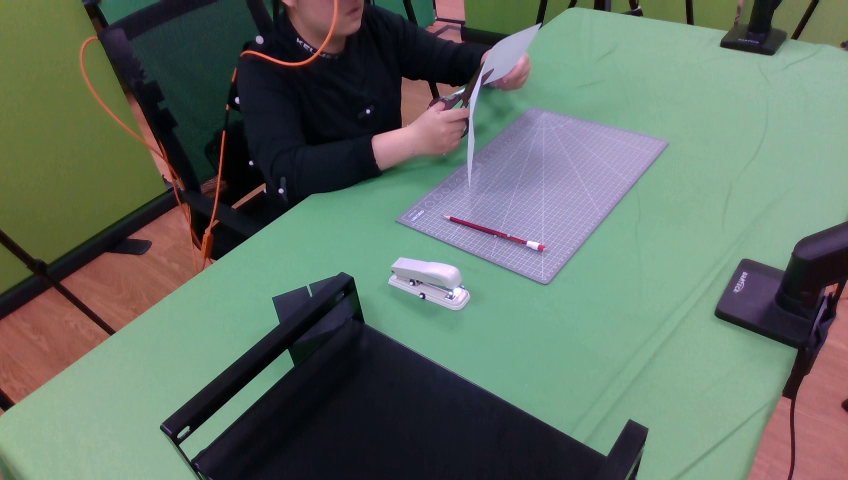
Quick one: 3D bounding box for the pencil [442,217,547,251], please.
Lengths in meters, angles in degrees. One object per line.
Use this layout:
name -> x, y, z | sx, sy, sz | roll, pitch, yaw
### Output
pencil -> 0.110, -0.012, 0.980 | 0.192, 0.012, 0.012 | 18, 46, 30

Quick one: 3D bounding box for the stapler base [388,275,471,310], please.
stapler base -> 0.007, 0.066, 0.897 | 0.129, 0.024, 0.041 | 17, 44, 29

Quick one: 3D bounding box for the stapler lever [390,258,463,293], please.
stapler lever -> 0.003, 0.046, 0.881 | 0.117, 0.040, 0.027 | 17, 44, 29

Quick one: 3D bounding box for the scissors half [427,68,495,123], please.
scissors half -> 0.065, -0.264, 1.095 | 0.174, 0.040, 0.013 | -26, 13, 41

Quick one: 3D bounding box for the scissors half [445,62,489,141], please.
scissors half -> 0.081, -0.248, 1.096 | 0.040, 0.175, 0.013 | 31, 43, 6
